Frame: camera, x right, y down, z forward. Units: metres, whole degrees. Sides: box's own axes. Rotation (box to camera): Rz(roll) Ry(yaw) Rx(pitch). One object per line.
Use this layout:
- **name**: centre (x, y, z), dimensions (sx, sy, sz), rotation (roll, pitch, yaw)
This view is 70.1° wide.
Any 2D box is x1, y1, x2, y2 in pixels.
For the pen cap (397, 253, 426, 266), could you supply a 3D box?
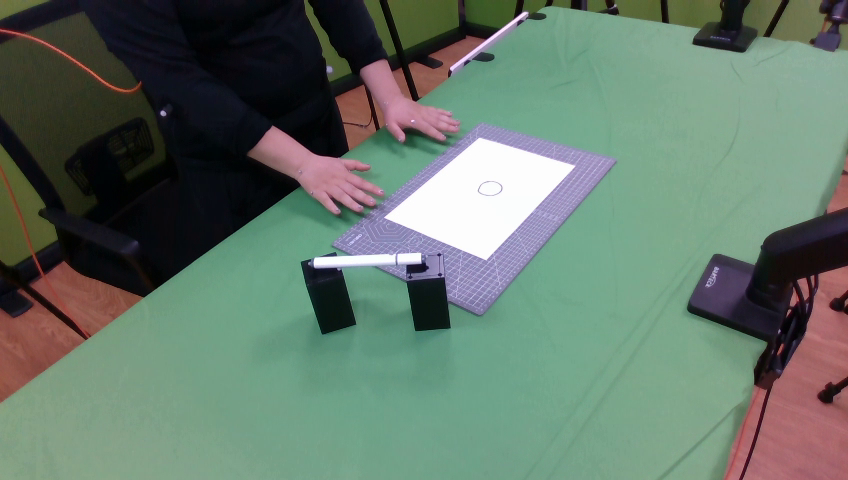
- **pen cap**: centre (-0.016, 0.026, 0.791), dimensions (0.038, 0.017, 0.017), rotation (-3, 40, 3)

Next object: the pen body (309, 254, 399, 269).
- **pen body**: centre (-0.079, 0.029, 0.797), dimensions (0.144, 0.017, 0.017), rotation (-3, 40, 5)
